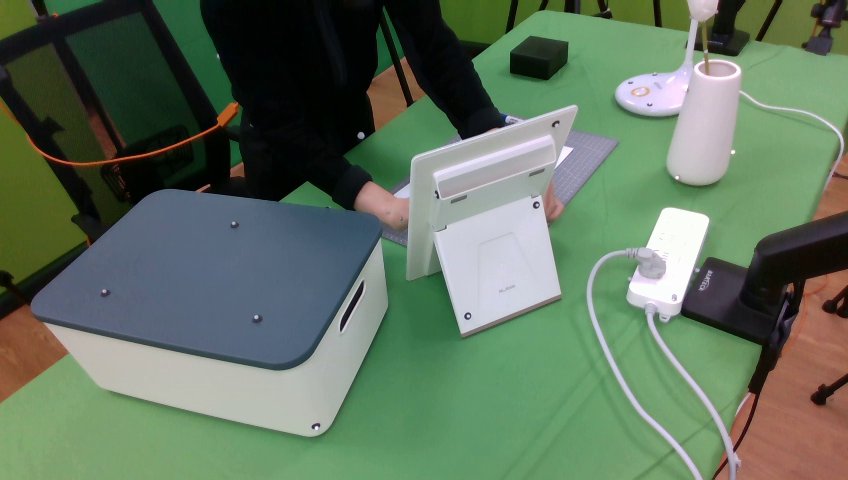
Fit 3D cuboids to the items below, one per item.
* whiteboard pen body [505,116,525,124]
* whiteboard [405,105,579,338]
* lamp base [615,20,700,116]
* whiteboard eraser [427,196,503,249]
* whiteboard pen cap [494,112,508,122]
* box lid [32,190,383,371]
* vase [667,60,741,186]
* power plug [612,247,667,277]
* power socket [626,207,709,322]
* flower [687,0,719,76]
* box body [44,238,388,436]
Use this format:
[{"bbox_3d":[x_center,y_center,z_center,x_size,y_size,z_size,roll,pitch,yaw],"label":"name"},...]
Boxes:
[{"bbox_3d":[0.203,-0.232,1.213,0.139,0.017,0.017,27,51,36],"label":"whiteboard pen body"},{"bbox_3d":[0.103,0.003,0.786,0.218,0.306,0.143,-19,62,-14],"label":"whiteboard"},{"bbox_3d":[0.484,-0.364,1.211,0.180,0.181,0.159,-15,41,-14],"label":"lamp base"},{"bbox_3d":[0.063,-0.023,0.901,0.112,0.056,0.041,-26,79,3],"label":"whiteboard eraser"},{"bbox_3d":[0.161,-0.253,1.248,0.033,0.018,0.018,29,52,36],"label":"whiteboard pen cap"},{"bbox_3d":[-0.257,0.032,0.750,0.370,0.015,0.263,7,42,16],"label":"box lid"},{"bbox_3d":[0.463,-0.189,0.994,0.098,0.201,0.097,-4,40,3],"label":"vase"},{"bbox_3d":[0.306,0.031,0.852,0.072,0.053,0.035,21,48,37],"label":"power plug"},{"bbox_3d":[0.360,0.026,0.886,0.072,0.033,0.227,17,46,27],"label":"power socket"},{"bbox_3d":[0.436,-0.242,0.934,0.038,0.364,0.043,-24,49,8],"label":"flower"},{"bbox_3d":[-0.251,0.088,0.799,0.362,0.161,0.254,7,42,16],"label":"box body"}]
